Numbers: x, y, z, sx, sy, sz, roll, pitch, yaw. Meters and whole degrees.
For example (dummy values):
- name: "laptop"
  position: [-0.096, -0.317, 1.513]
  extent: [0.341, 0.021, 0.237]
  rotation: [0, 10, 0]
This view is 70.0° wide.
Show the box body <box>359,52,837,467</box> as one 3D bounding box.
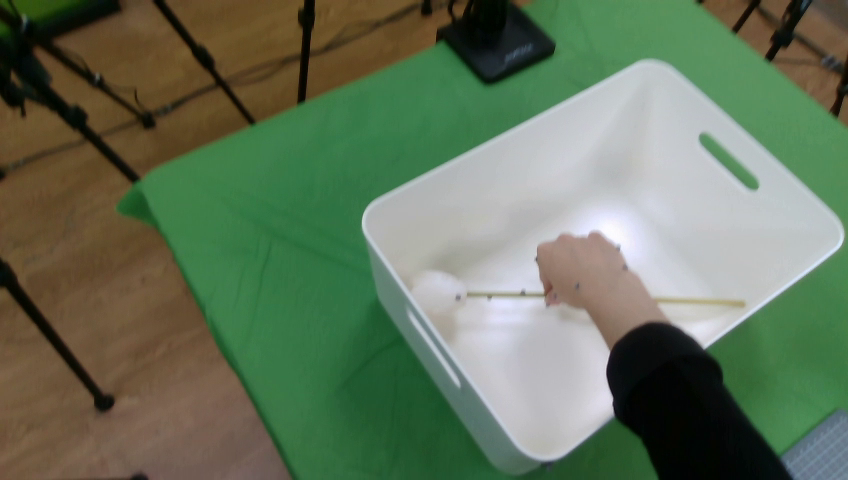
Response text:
- name: "box body"
  position: [0.150, 0.017, 0.588]
  extent: [0.364, 0.161, 0.252]
  rotation: [-30, 68, -18]

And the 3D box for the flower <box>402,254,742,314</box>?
- name: "flower"
  position: [0.158, 0.055, 0.619]
  extent: [0.362, 0.044, 0.038]
  rotation: [7, 28, -8]
